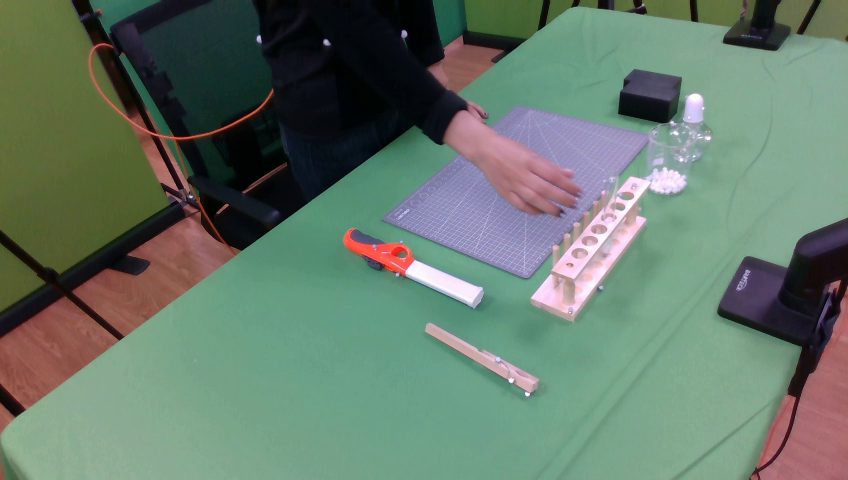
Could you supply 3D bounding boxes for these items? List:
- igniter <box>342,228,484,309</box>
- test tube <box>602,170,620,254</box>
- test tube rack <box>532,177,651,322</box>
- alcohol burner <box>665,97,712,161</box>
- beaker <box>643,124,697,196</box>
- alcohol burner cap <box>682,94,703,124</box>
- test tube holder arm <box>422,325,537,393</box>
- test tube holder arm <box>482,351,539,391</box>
[{"bbox_3d":[-0.028,0.039,0.936,0.274,0.025,0.057,23,60,33],"label":"igniter"},{"bbox_3d":[0.261,-0.035,0.848,0.017,0.151,0.017,-6,44,6],"label":"test tube"},{"bbox_3d":[0.247,0.002,0.883,0.066,0.085,0.243,23,49,32],"label":"test tube rack"},{"bbox_3d":[0.465,-0.198,1.057,0.078,0.119,0.077,-4,41,4],"label":"alcohol burner"},{"bbox_3d":[0.407,-0.132,1.001,0.084,0.101,0.073,-20,42,-13],"label":"beaker"},{"bbox_3d":[0.460,-0.225,1.033,0.034,0.048,0.033,-8,34,6],"label":"alcohol burner cap"},{"bbox_3d":[0.068,0.152,0.789,0.177,0.015,0.013,23,15,32],"label":"test tube holder arm"},{"bbox_3d":[0.106,0.166,0.769,0.087,0.015,0.010,23,15,34],"label":"test tube holder arm"}]
